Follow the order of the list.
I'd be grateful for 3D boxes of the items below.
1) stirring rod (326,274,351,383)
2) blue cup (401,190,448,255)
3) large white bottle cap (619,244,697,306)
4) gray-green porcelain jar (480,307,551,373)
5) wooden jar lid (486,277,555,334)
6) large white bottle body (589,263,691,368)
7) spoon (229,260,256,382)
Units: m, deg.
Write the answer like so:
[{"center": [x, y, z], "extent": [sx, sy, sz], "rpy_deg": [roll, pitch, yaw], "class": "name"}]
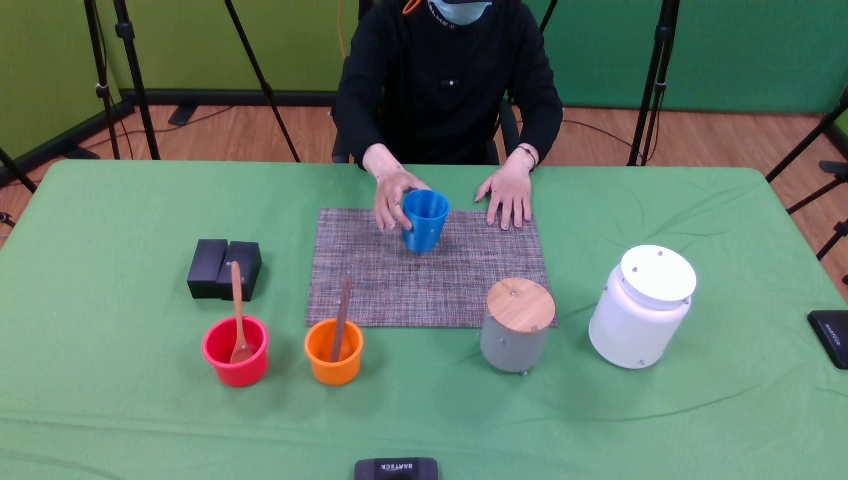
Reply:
[{"center": [-0.137, 0.142, 0.971], "extent": [0.014, 0.006, 0.176], "rpy_deg": [9, 89, 1], "class": "stirring rod"}, {"center": [-0.006, -0.027, 1.119], "extent": [0.093, 0.100, 0.092], "rpy_deg": [5, 44, -5], "class": "blue cup"}, {"center": [0.362, 0.052, 0.940], "extent": [0.115, 0.018, 0.114], "rpy_deg": [2, 46, -2], "class": "large white bottle cap"}, {"center": [0.148, 0.148, 0.992], "extent": [0.106, 0.127, 0.105], "rpy_deg": [2, 46, -2], "class": "gray-green porcelain jar"}, {"center": [0.150, 0.105, 0.948], "extent": [0.108, 0.021, 0.107], "rpy_deg": [3, 47, -3], "class": "wooden jar lid"}, {"center": [0.358, 0.111, 1.000], "extent": [0.131, 0.185, 0.130], "rpy_deg": [2, 46, -2], "class": "large white bottle body"}, {"center": [-0.294, 0.129, 0.966], "extent": [0.042, 0.021, 0.193], "rpy_deg": [-4, 90, -9], "class": "spoon"}]
